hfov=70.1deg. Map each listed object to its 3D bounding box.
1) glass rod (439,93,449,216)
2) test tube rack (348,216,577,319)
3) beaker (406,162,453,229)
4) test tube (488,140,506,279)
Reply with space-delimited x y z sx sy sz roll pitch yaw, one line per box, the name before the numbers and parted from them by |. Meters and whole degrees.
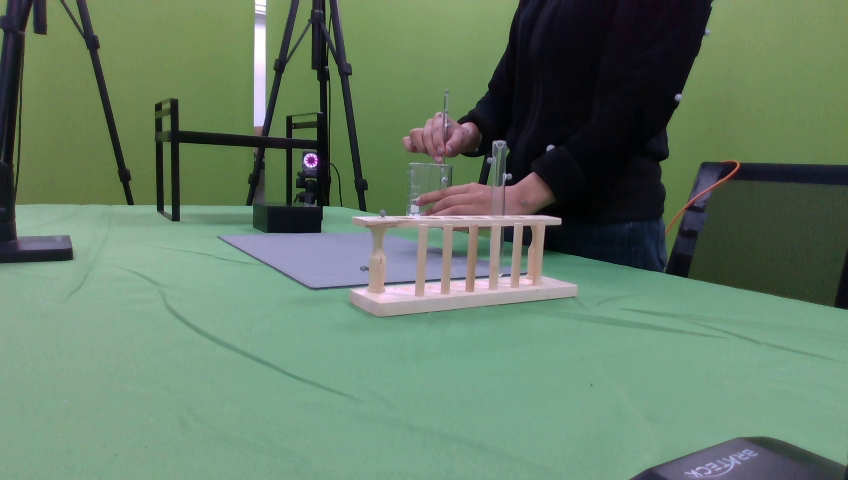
glass rod | 0.031 -0.132 0.952 0.008 0.199 0.008 3 0 0
test tube rack | 0.048 0.021 0.619 0.244 0.085 0.066 -2 9 -31
beaker | 0.009 -0.070 0.951 0.073 0.100 0.084 7 7 34
test tube | 0.079 -0.032 0.653 0.017 0.150 0.017 1 2 0
